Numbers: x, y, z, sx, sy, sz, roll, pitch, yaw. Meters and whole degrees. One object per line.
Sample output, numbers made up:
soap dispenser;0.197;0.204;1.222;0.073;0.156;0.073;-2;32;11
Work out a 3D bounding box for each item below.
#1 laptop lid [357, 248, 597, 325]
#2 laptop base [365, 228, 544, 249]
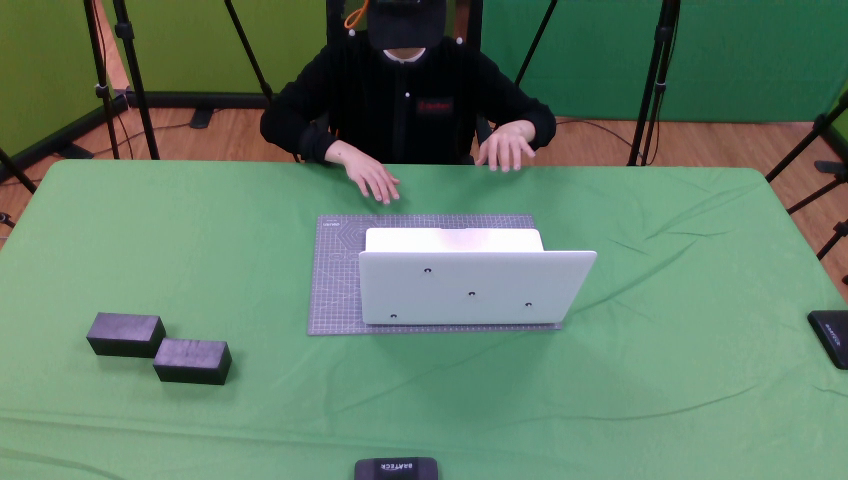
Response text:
laptop lid;0.074;0.080;0.962;0.357;0.243;0.013;1;56;-5
laptop base;0.064;0.063;1.142;0.355;0.023;0.234;0;42;-4
